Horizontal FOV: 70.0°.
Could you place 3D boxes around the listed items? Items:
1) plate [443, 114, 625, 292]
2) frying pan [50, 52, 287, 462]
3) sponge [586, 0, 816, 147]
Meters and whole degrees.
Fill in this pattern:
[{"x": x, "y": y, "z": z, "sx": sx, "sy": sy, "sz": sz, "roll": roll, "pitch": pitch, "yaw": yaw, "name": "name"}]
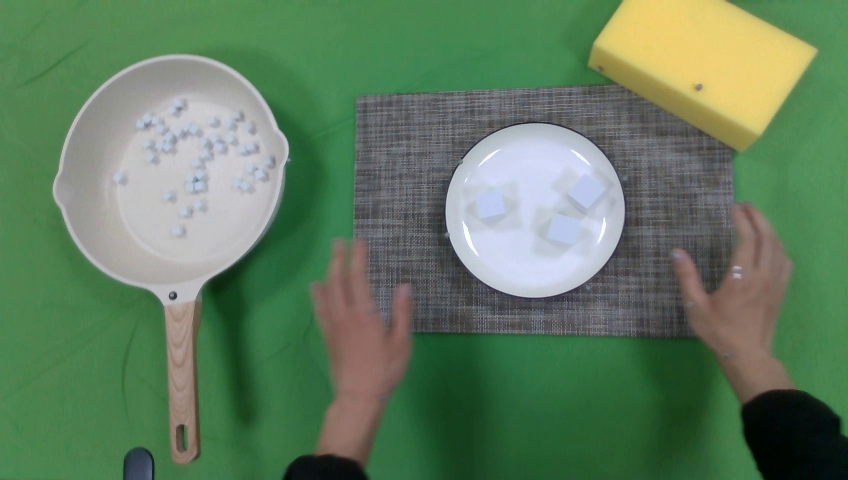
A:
[{"x": 0.126, "y": -0.042, "z": 0.711, "sx": 0.207, "sy": 0.039, "sz": 0.207, "roll": -1, "pitch": 84, "yaw": 8, "name": "plate"}, {"x": -0.296, "y": 0.014, "z": 0.734, "sx": 0.306, "sy": 0.103, "sz": 0.485, "roll": -9, "pitch": 74, "yaw": 8, "name": "frying pan"}, {"x": 0.309, "y": -0.213, "z": 0.693, "sx": 0.206, "sy": 0.061, "sz": 0.118, "roll": 33, "pitch": 87, "yaw": 11, "name": "sponge"}]
